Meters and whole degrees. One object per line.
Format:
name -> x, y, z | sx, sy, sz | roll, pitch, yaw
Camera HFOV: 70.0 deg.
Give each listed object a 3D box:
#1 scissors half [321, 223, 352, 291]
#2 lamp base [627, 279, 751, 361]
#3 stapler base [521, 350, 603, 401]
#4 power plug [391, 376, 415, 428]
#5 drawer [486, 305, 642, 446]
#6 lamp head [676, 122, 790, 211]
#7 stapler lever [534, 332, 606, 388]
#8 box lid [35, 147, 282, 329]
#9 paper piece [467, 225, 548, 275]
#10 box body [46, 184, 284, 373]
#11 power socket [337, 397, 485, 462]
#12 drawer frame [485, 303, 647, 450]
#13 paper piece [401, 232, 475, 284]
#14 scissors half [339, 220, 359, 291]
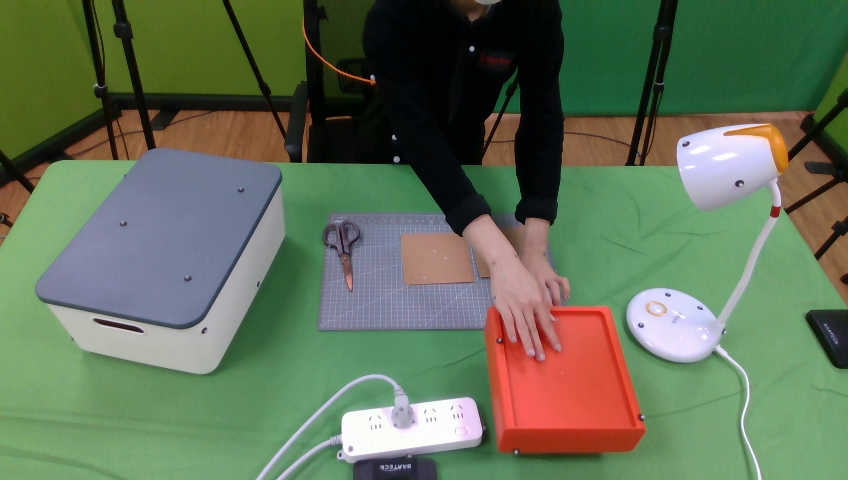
scissors half -> -0.163, 0.031, 1.160 | 0.040, 0.013, 0.174 | -17, 51, -14
lamp base -> 0.460, 0.100, 1.027 | 0.178, 0.181, 0.160 | 27, 51, 17
stapler base -> 0.217, 0.203, 0.942 | 0.130, 0.024, 0.041 | 26, 33, 16
power plug -> -0.030, 0.249, 0.917 | 0.035, 0.053, 0.072 | 3, 46, -1
drawer -> 0.202, 0.200, 0.918 | 0.195, 0.073, 0.210 | 2, 47, -4
lamp head -> 0.423, -0.104, 0.819 | 0.122, 0.113, 0.112 | -13, 33, 40
stapler lever -> 0.225, 0.182, 0.929 | 0.118, 0.040, 0.027 | 26, 34, 15
box lid -> -0.411, -0.023, 0.987 | 0.263, 0.015, 0.369 | 10, 47, 5
paper piece -> 0.163, 0.019, 1.199 | 0.136, 0.009, 0.137 | 0, 44, -10
box body -> -0.414, 0.029, 1.039 | 0.254, 0.161, 0.362 | 10, 46, 5
power socket -> -0.018, 0.285, 0.915 | 0.227, 0.033, 0.071 | -5, 46, -8
drawer frame -> 0.204, 0.202, 0.917 | 0.202, 0.083, 0.212 | 1, 47, -4
paper piece -> 0.025, 0.032, 1.175 | 0.135, 0.004, 0.135 | 0, 46, -5
scissors half -> -0.144, 0.026, 1.162 | 0.040, 0.013, 0.174 | -7, 50, 1
